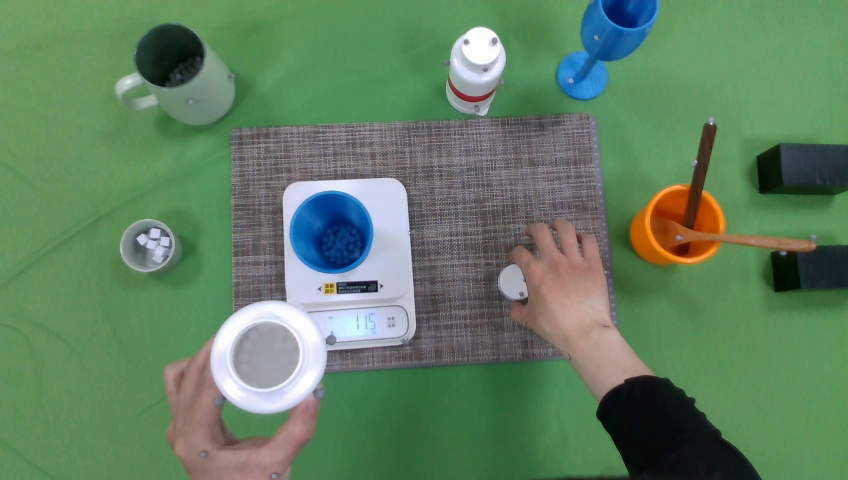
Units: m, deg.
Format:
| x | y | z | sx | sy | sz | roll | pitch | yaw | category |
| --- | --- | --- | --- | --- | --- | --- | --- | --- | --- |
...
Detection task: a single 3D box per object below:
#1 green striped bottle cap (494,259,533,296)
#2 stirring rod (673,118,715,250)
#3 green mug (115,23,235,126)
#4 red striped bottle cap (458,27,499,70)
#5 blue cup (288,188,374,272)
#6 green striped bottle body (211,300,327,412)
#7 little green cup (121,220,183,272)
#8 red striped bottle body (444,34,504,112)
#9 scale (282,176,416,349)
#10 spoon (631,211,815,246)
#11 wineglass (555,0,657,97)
| x | y | z | sx | sy | sz | roll | pitch | yaw | category |
| --- | --- | --- | --- | --- | --- | --- | --- | --- | --- |
| 0.106 | 0.045 | 0.723 | 0.044 | 0.020 | 0.044 | 0 | 91 | -17 | green striped bottle cap |
| 0.304 | -0.057 | 0.687 | 0.014 | 0.178 | 0.006 | 3 | 40 | 12 | stirring rod |
| -0.292 | -0.183 | 0.705 | 0.125 | 0.105 | 0.092 | -25 | 83 | -5 | green mug |
| 0.060 | -0.209 | 0.660 | 0.044 | 0.018 | 0.044 | 0 | 78 | -1 | red striped bottle cap |
| -0.094 | -0.004 | 0.652 | 0.093 | 0.100 | 0.092 | 0 | 84 | -2 | blue cup |
| -0.091 | 0.071 | 0.371 | 0.063 | 0.119 | 0.063 | 2 | 78 | -8 | green striped bottle body |
| -0.314 | 0.009 | 0.708 | 0.061 | 0.039 | 0.061 | 1 | 81 | -3 | little green cup |
| 0.058 | -0.201 | 0.713 | 0.063 | 0.120 | 0.063 | 0 | 81 | -2 | red striped bottle body |
| -0.089 | 0.025 | 0.714 | 0.149 | 0.031 | 0.200 | -4 | 82 | -2 | scale |
| 0.326 | -0.007 | 0.680 | 0.022 | 0.192 | 0.041 | 12 | 87 | -44 | spoon |
| 0.202 | -0.228 | 0.695 | 0.074 | 0.172 | 0.073 | 0 | 81 | -1 | wineglass |
